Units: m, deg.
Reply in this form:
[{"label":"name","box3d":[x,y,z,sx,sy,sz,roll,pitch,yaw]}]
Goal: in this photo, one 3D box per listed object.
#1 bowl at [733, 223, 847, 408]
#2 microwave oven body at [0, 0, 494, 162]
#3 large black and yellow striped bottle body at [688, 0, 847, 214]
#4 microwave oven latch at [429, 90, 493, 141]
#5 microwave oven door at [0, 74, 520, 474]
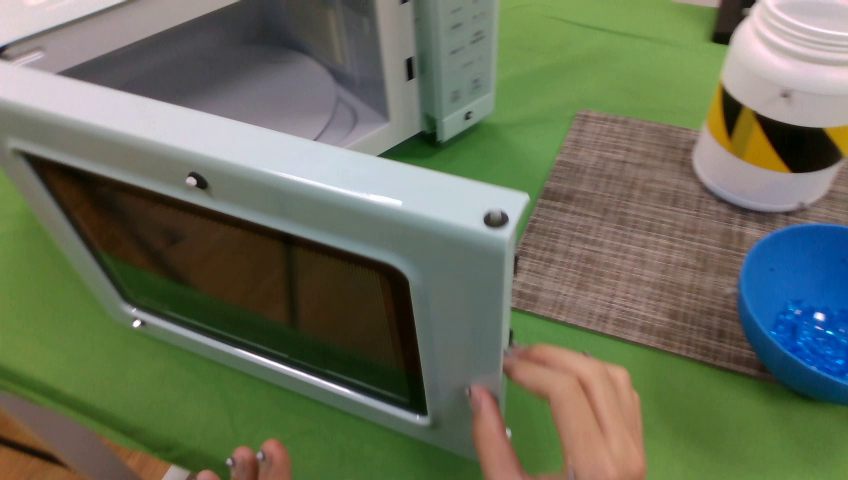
[{"label":"bowl","box3d":[0.301,0.067,0.449,0.151,0.077,0.150,-3,47,3]},{"label":"microwave oven body","box3d":[-0.196,-0.196,0.613,0.441,0.263,0.322,-34,54,-23]},{"label":"large black and yellow striped bottle body","box3d":[0.331,-0.130,0.555,0.131,0.186,0.129,-2,47,3]},{"label":"microwave oven latch","box3d":[0.042,-0.142,0.674,0.079,0.030,0.030,-33,53,-22]},{"label":"microwave oven door","box3d":[-0.111,0.026,0.393,0.354,0.246,0.039,15,50,18]}]
